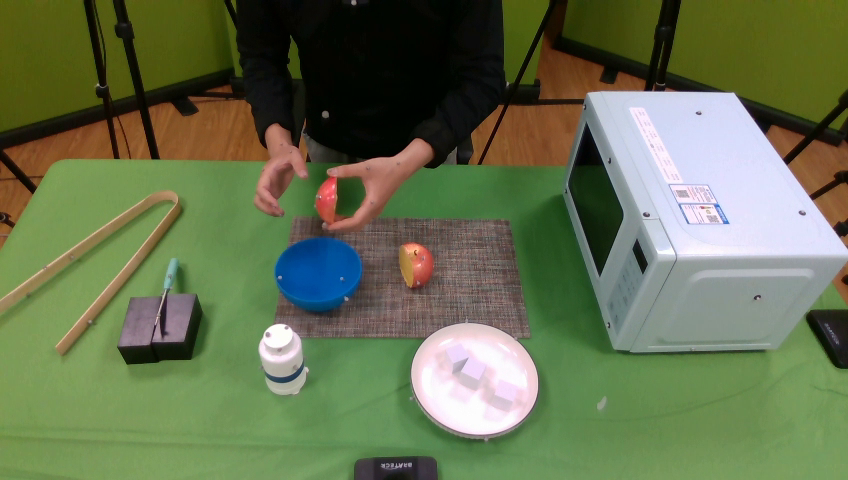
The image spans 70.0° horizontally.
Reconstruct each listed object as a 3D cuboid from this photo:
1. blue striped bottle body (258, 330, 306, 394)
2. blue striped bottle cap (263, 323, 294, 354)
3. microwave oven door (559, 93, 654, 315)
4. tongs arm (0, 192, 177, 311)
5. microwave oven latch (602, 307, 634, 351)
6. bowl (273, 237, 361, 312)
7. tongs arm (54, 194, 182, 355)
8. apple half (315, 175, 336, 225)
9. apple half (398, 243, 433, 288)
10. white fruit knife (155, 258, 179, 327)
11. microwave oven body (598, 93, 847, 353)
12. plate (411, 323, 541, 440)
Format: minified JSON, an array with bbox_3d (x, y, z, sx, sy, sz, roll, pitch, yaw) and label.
[{"bbox_3d":[-0.220,0.182,0.937,0.063,0.121,0.062,2,46,-2],"label":"blue striped bottle body"},{"bbox_3d":[-0.217,0.146,0.900,0.044,0.021,0.044,1,46,-1],"label":"blue striped bottle cap"},{"bbox_3d":[0.327,-0.074,1.123,0.039,0.245,0.353,-1,46,-5],"label":"microwave oven door"},{"bbox_3d":[-0.618,0.019,1.124,0.050,0.026,0.384,24,47,16],"label":"tongs arm"},{"bbox_3d":[0.332,0.153,1.044,0.030,0.029,0.078,-1,45,-4],"label":"microwave oven latch"},{"bbox_3d":[-0.186,0.075,1.070,0.151,0.077,0.150,3,45,-3],"label":"bowl"},{"bbox_3d":[-0.543,0.048,1.107,0.028,0.028,0.385,11,46,10],"label":"tongs arm"},{"bbox_3d":[-0.156,-0.066,0.957,0.033,0.081,0.081,3,45,-8],"label":"apple half"},{"bbox_3d":[-0.012,0.046,1.115,0.053,0.075,0.080,-11,44,-20],"label":"apple half"},{"bbox_3d":[-0.440,0.085,1.037,0.016,0.027,0.206,10,26,-19],"label":"white fruit knife"},{"bbox_3d":[0.475,-0.041,1.109,0.326,0.261,0.438,-1,45,-4],"label":"microwave oven body"},{"bbox_3d":[0.082,0.228,0.976,0.208,0.039,0.206,2,45,-2],"label":"plate"}]
